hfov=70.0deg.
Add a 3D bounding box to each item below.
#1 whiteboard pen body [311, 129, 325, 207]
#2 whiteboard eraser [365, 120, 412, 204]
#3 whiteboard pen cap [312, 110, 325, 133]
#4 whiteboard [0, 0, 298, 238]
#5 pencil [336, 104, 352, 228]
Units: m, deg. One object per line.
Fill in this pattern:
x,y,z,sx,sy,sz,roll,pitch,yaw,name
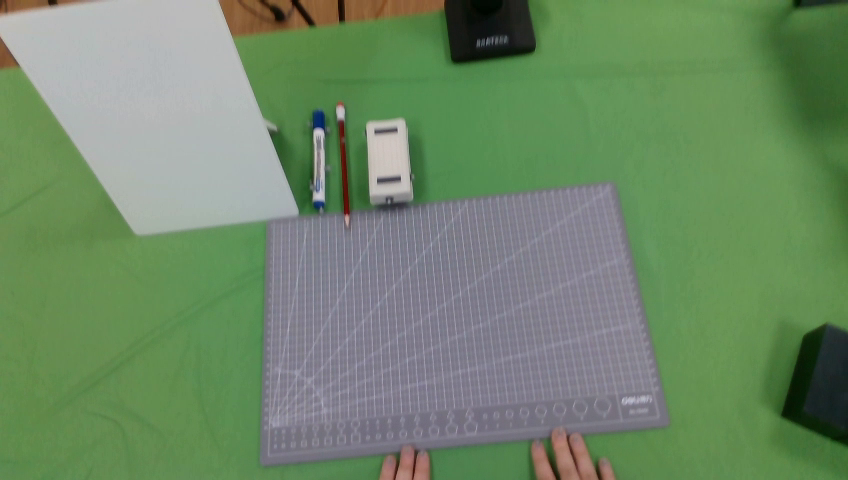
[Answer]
-0.143,-0.108,0.815,0.017,0.017,0.139,-5,66,3,whiteboard pen body
-0.047,-0.101,0.791,0.055,0.042,0.112,-7,67,3,whiteboard eraser
-0.145,-0.161,0.836,0.018,0.018,0.033,-7,65,2,whiteboard pen cap
-0.289,-0.169,0.728,0.217,0.308,0.142,-6,47,3,whiteboard
-0.107,-0.103,0.813,0.012,0.012,0.192,-8,67,1,pencil
